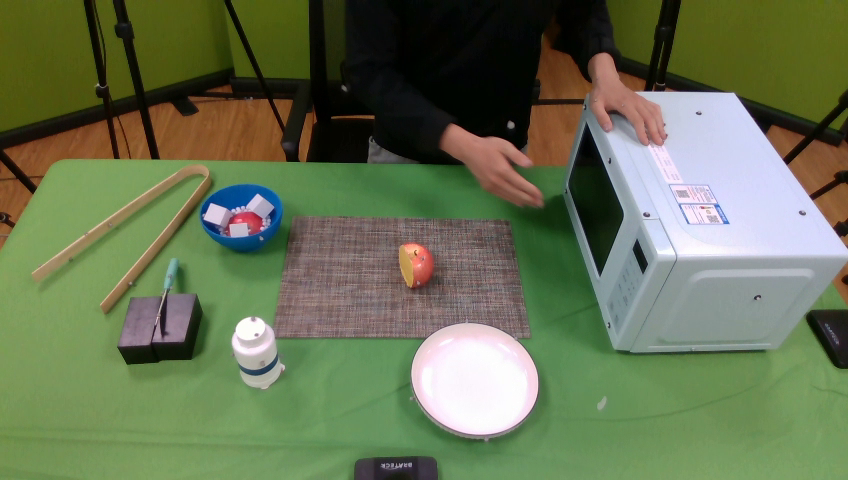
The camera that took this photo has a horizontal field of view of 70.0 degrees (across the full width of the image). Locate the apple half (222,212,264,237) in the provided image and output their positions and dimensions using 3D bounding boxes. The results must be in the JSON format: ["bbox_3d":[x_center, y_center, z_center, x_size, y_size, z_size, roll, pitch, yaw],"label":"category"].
[{"bbox_3d":[-0.346,-0.033,1.161,0.081,0.033,0.081,4,47,-4],"label":"apple half"}]

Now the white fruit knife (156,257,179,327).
[{"bbox_3d":[-0.440,0.085,1.037,0.016,0.027,0.206,10,26,-19],"label":"white fruit knife"}]

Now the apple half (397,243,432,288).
[{"bbox_3d":[-0.013,0.047,1.115,0.053,0.075,0.080,-10,43,-21],"label":"apple half"}]

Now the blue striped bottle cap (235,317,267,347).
[{"bbox_3d":[-0.259,0.137,0.907,0.044,0.021,0.044,2,43,-2],"label":"blue striped bottle cap"}]

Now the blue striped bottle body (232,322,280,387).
[{"bbox_3d":[-0.262,0.171,0.944,0.063,0.121,0.062,2,46,-2],"label":"blue striped bottle body"}]

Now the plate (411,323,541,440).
[{"bbox_3d":[0.082,0.228,0.976,0.208,0.039,0.206,2,45,-2],"label":"plate"}]

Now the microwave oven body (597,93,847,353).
[{"bbox_3d":[0.476,-0.042,1.110,0.326,0.261,0.438,-1,45,-4],"label":"microwave oven body"}]

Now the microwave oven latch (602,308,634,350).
[{"bbox_3d":[0.332,0.153,1.044,0.030,0.029,0.078,-1,45,-4],"label":"microwave oven latch"}]

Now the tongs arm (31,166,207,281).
[{"bbox_3d":[-0.578,-0.040,1.184,0.050,0.026,0.384,23,48,17],"label":"tongs arm"}]

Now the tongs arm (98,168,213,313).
[{"bbox_3d":[-0.503,-0.012,1.167,0.028,0.028,0.385,11,46,11],"label":"tongs arm"}]

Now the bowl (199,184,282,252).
[{"bbox_3d":[-0.346,-0.030,1.164,0.151,0.077,0.150,3,46,-3],"label":"bowl"}]

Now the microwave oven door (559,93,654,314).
[{"bbox_3d":[0.327,-0.074,1.123,0.039,0.245,0.353,-1,46,-5],"label":"microwave oven door"}]
